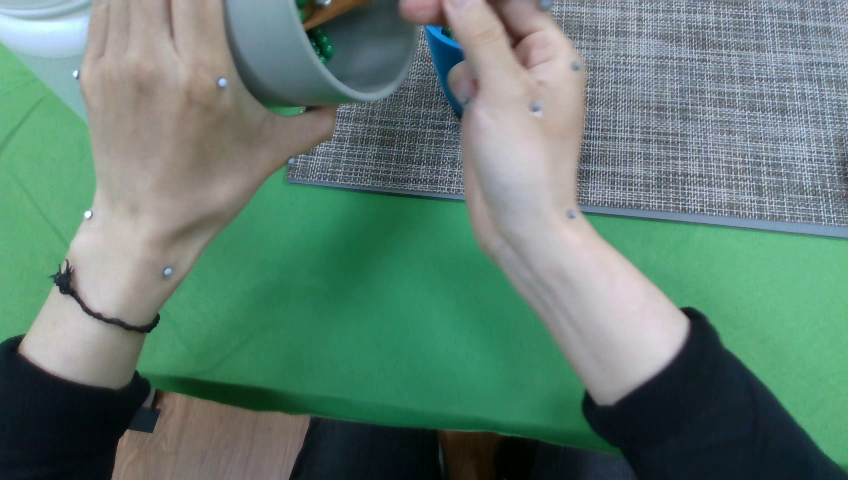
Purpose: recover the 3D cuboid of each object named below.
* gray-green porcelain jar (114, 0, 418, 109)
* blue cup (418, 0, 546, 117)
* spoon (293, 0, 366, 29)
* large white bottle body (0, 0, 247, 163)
[{"bbox_3d":[-0.083,-0.123,0.313,0.126,0.107,0.105,4,67,30],"label":"gray-green porcelain jar"},{"bbox_3d":[0.041,-0.140,0.436,0.092,0.101,0.092,-2,68,5],"label":"blue cup"},{"bbox_3d":[-0.010,-0.121,0.295,0.193,0.022,0.041,-1,74,11],"label":"spoon"},{"bbox_3d":[-0.209,-0.150,0.415,0.130,0.186,0.129,-1,68,3],"label":"large white bottle body"}]
